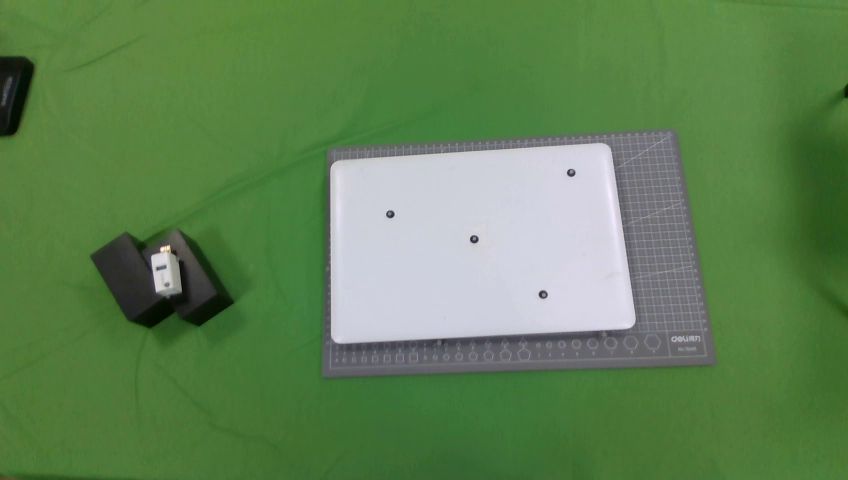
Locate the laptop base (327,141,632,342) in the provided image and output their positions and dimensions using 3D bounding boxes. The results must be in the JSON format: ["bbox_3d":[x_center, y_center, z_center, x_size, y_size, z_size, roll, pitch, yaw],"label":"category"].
[{"bbox_3d":[0.059,-0.001,0.737,0.354,0.023,0.234,-3,76,2],"label":"laptop base"}]

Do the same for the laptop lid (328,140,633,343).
[{"bbox_3d":[0.059,-0.003,0.725,0.357,0.013,0.240,-2,75,3],"label":"laptop lid"}]

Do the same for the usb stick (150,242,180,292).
[{"bbox_3d":[-0.295,0.028,0.689,0.021,0.027,0.058,-14,70,0],"label":"usb stick"}]
